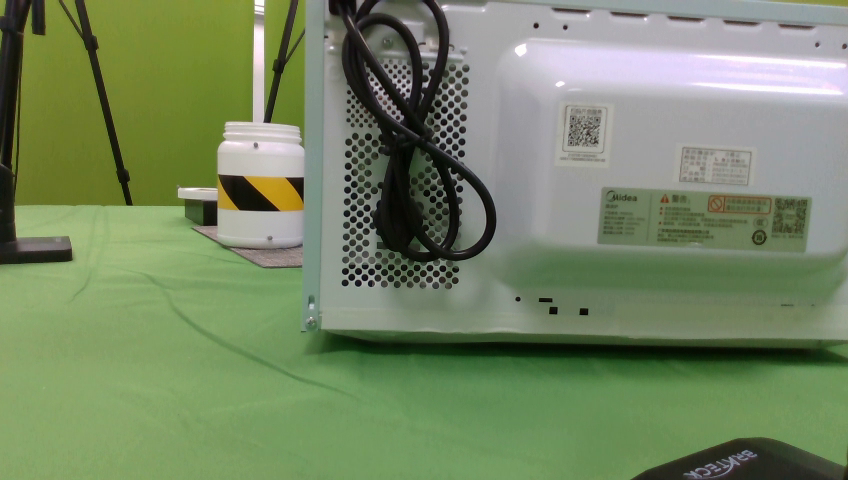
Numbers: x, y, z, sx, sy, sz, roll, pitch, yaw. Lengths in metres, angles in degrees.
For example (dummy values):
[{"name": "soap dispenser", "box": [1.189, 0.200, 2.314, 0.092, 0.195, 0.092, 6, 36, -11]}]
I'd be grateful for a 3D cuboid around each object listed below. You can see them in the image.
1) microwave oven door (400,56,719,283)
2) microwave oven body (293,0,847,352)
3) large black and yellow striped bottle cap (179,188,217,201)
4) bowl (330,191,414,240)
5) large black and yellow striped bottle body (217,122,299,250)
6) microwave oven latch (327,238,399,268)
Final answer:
[{"name": "microwave oven door", "box": [0.155, -0.077, 0.698, 0.356, 0.243, 0.039, 2, 8, -5]}, {"name": "microwave oven body", "box": [0.122, -0.055, 0.550, 0.442, 0.260, 0.325, 3, 7, -5]}, {"name": "large black and yellow striped bottle cap", "box": [-0.434, -0.093, 1.226, 0.115, 0.019, 0.115, 3, 9, 0]}, {"name": "bowl", "box": [-0.095, -0.044, 1.096, 0.151, 0.077, 0.151, 3, 8, 0]}, {"name": "large black and yellow striped bottle body", "box": [-0.250, -0.084, 0.931, 0.131, 0.184, 0.130, 2, 7, 0]}, {"name": "microwave oven latch", "box": [-0.069, 0.015, 0.694, 0.079, 0.029, 0.030, 3, 7, -3]}]
